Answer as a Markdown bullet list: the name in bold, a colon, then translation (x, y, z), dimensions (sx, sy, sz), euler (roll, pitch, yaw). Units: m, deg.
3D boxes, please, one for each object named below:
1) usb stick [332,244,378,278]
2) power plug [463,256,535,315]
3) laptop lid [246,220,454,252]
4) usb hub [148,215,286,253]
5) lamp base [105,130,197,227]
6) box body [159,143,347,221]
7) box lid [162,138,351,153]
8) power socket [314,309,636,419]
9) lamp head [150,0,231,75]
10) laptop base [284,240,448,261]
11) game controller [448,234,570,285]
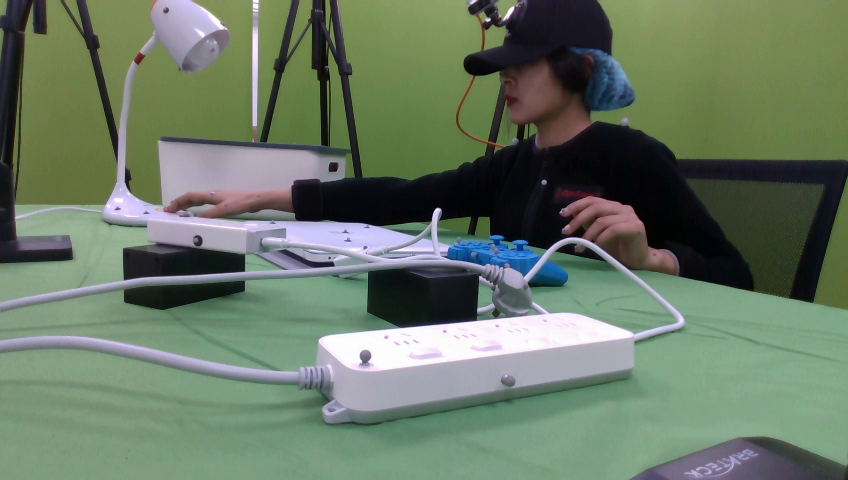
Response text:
- **usb stick**: translation (-0.085, 0.026, 0.702), dimensions (0.059, 0.027, 0.021), euler (-19, 17, 27)
- **power plug**: translation (0.064, 0.039, 0.530), dimensions (0.072, 0.052, 0.035), euler (32, 43, 7)
- **laptop lid**: translation (-0.123, -0.009, 0.945), dimensions (0.243, 0.013, 0.355), euler (1, 7, -29)
- **usb hub**: translation (-0.197, -0.006, 0.575), dimensions (0.125, 0.025, 0.050), euler (6, 6, 22)
- **lamp base**: translation (-0.532, -0.120, 1.153), dimensions (0.179, 0.180, 0.161), euler (1, 7, 8)
- **box body**: translation (-0.384, -0.137, 1.406), dimensions (0.364, 0.160, 0.254), euler (3, 8, 7)
- **box lid**: translation (-0.371, -0.215, 1.394), dimensions (0.371, 0.015, 0.263), euler (4, 8, 7)
- **power socket**: translation (0.039, 0.072, 0.385), dimensions (0.228, 0.032, 0.072), euler (-2, 7, -28)
- **lamp head**: translation (-0.431, -0.374, 1.086), dimensions (0.123, 0.112, 0.112), euler (42, 8, -2)
- **laptop base**: translation (-0.125, 0.002, 0.945), dimensions (0.237, 0.023, 0.352), euler (2, 6, -31)
- **game controller**: translation (0.099, 0.021, 0.756), dimensions (0.097, 0.051, 0.154), euler (-7, 10, -29)
